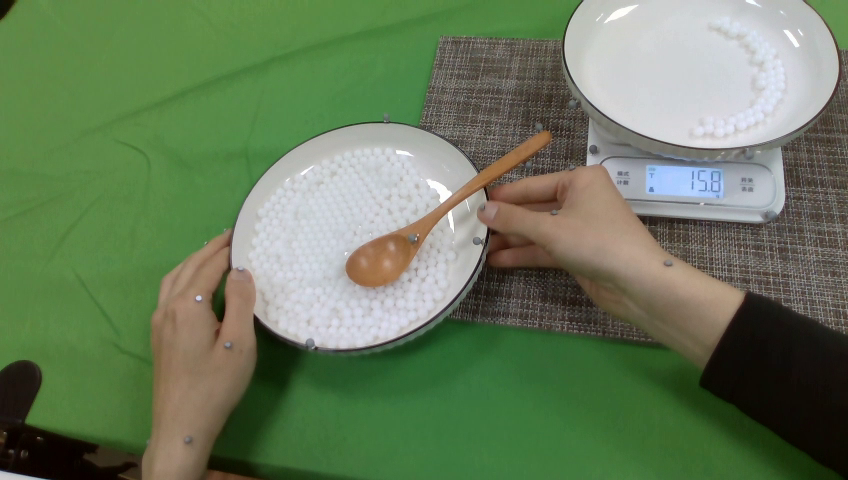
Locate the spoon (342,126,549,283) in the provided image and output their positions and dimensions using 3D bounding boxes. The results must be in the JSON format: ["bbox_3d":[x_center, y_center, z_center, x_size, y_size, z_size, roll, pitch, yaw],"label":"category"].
[{"bbox_3d":[0.020,-0.030,0.464,0.194,0.022,0.041,-37,62,-3],"label":"spoon"}]

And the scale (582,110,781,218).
[{"bbox_3d":[0.213,-0.112,0.508,0.148,0.032,0.199,5,62,11],"label":"scale"}]

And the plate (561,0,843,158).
[{"bbox_3d":[0.216,-0.146,0.489,0.207,0.039,0.206,-3,60,5],"label":"plate"}]

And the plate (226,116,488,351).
[{"bbox_3d":[-0.052,-0.007,0.483,0.209,0.038,0.207,-4,61,7],"label":"plate"}]
